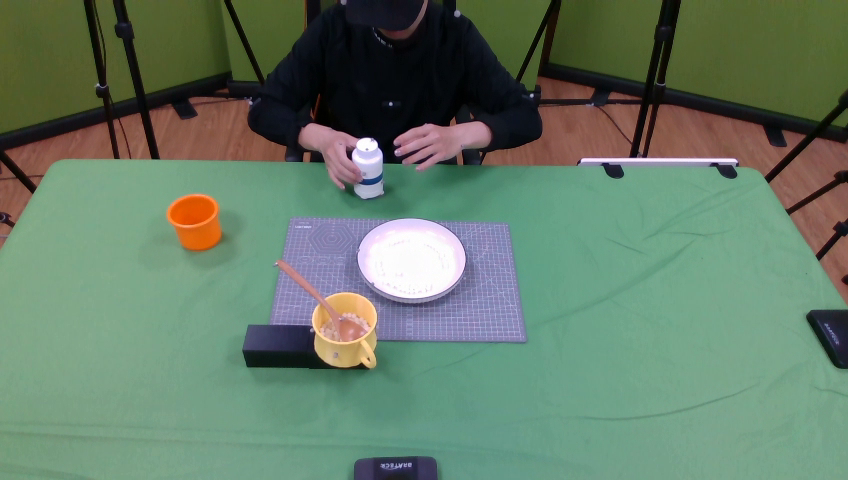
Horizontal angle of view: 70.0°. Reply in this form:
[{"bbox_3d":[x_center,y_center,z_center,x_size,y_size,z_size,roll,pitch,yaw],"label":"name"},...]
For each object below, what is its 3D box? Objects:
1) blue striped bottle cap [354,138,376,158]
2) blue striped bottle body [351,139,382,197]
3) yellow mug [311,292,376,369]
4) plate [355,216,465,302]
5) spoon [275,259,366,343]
[{"bbox_3d":[-0.118,-0.185,1.216,0.044,0.021,0.044,5,47,-5],"label":"blue striped bottle cap"},{"bbox_3d":[-0.118,-0.151,1.254,0.063,0.121,0.062,2,50,-3],"label":"blue striped bottle body"},{"bbox_3d":[-0.115,0.150,0.945,0.100,0.064,0.130,-29,57,-28],"label":"yellow mug"},{"bbox_3d":[-0.027,0.039,1.144,0.208,0.039,0.206,2,46,-2],"label":"plate"},{"bbox_3d":[-0.161,0.098,0.946,0.194,0.021,0.041,48,56,-5],"label":"spoon"}]
